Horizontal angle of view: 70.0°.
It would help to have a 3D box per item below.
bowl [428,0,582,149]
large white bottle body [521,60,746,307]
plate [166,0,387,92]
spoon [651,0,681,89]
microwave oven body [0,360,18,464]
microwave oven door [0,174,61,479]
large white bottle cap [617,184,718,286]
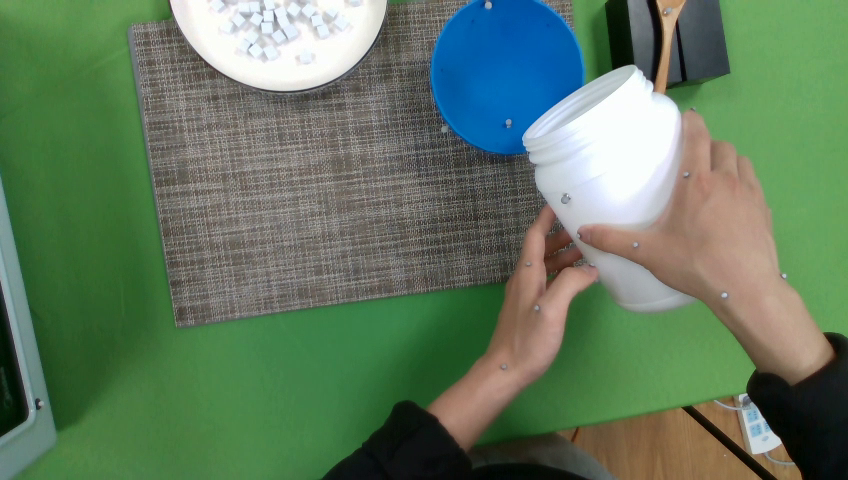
[{"bbox_3d":[0.073,-0.162,0.606,0.152,0.076,0.151,0,93,-8],"label":"bowl"},{"bbox_3d":[0.178,-0.048,0.529,0.130,0.130,0.185,-38,104,-5],"label":"large white bottle body"},{"bbox_3d":[-0.141,-0.245,0.590,0.209,0.038,0.209,0,90,-8],"label":"plate"},{"bbox_3d":[0.240,-0.195,0.616,0.042,0.021,0.194,4,98,-11],"label":"spoon"},{"bbox_3d":[-0.531,0.012,0.435,0.326,0.259,0.442,-10,95,-8],"label":"microwave oven body"},{"bbox_3d":[-0.380,0.028,0.454,0.039,0.243,0.356,-11,95,-7],"label":"microwave oven door"},{"bbox_3d":[0.274,-0.005,0.679,0.115,0.018,0.115,-1,94,-9],"label":"large white bottle cap"}]
